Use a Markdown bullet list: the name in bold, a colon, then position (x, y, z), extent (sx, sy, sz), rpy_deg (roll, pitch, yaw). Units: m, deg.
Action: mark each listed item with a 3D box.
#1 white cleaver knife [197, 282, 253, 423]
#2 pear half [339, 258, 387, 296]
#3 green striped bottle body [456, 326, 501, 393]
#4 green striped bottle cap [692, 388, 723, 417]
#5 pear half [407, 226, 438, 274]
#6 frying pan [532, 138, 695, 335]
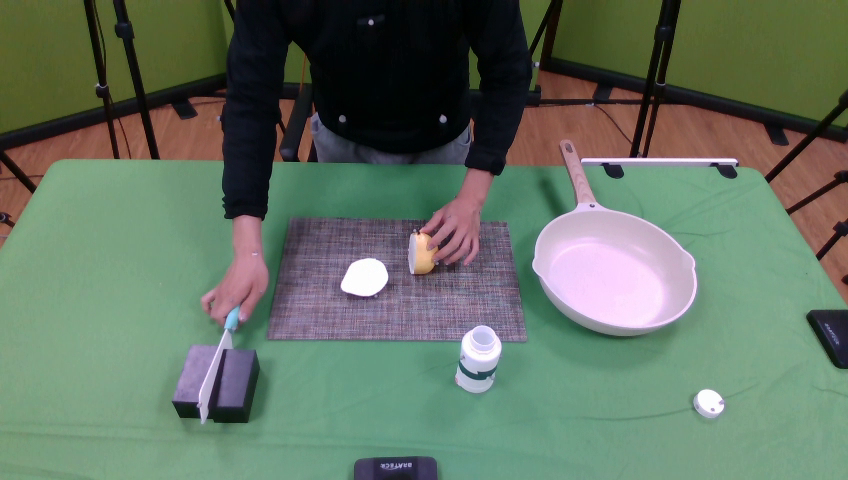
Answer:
- **white cleaver knife**: position (-0.321, 0.168, 0.976), extent (0.021, 0.066, 0.285), rpy_deg (6, 33, -3)
- **pear half**: position (-0.112, 0.073, 1.106), extent (0.088, 0.031, 0.070), rpy_deg (-25, 68, -11)
- **green striped bottle body**: position (0.086, 0.185, 0.959), extent (0.063, 0.120, 0.063), rpy_deg (2, 46, -2)
- **green striped bottle cap**: position (0.460, 0.263, 0.984), extent (0.044, 0.020, 0.044), rpy_deg (3, 46, -3)
- **pear half**: position (-0.001, 0.012, 1.120), extent (0.056, 0.110, 0.076), rpy_deg (-8, 53, -13)
- **frying pan**: position (0.336, -0.024, 1.190), extent (0.307, 0.103, 0.484), rpy_deg (-2, 55, -7)
